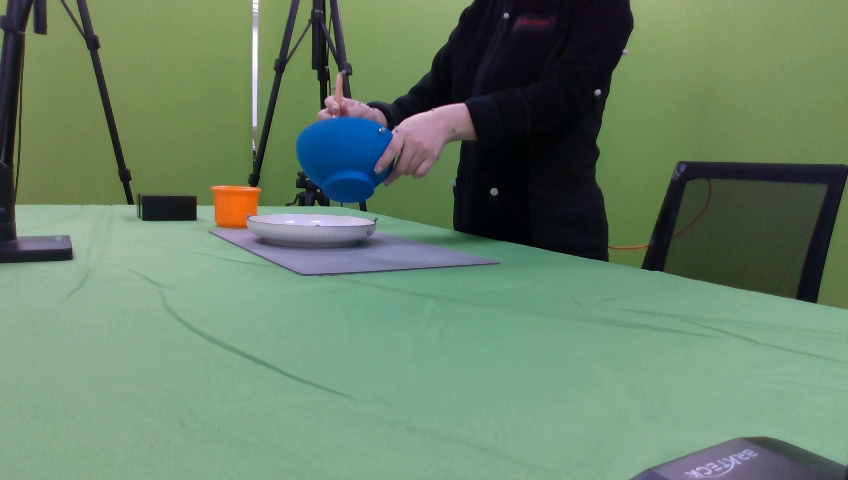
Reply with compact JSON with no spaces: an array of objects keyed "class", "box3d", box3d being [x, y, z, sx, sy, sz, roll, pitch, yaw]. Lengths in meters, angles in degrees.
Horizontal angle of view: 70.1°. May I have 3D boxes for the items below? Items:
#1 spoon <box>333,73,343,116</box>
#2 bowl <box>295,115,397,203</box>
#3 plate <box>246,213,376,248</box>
[{"class":"spoon","box3d":[-0.144,-0.194,0.957,0.022,0.193,0.041,29,-40,-30]},{"class":"bowl","box3d":[-0.112,-0.106,0.885,0.151,0.076,0.151,-5,-25,-2]},{"class":"plate","box3d":[-0.185,-0.017,0.994,0.209,0.038,0.209,3,8,0]}]
